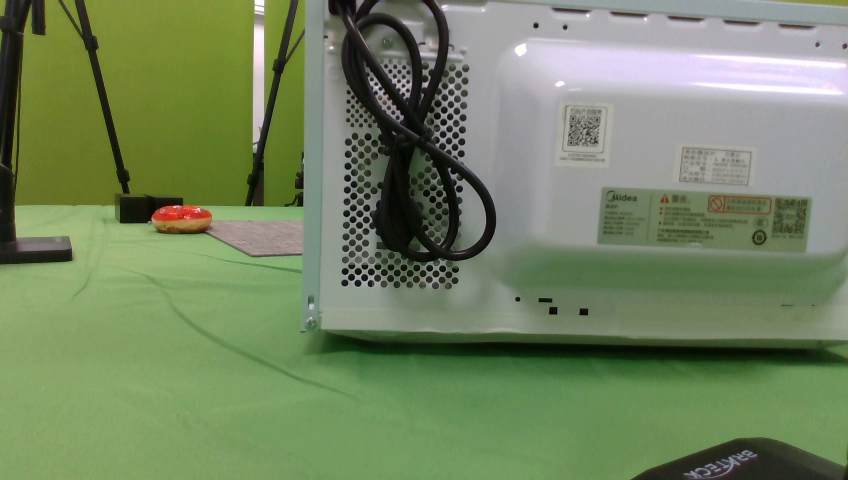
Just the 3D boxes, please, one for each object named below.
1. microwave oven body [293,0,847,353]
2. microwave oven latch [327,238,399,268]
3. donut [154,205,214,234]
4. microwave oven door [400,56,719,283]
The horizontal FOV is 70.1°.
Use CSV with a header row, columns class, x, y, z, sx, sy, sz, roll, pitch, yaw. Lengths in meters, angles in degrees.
class,x,y,z,sx,sy,sz,roll,pitch,yaw
microwave oven body,0.122,-0.055,0.550,0.442,0.260,0.325,3,7,-5
microwave oven latch,-0.069,0.015,0.694,0.079,0.029,0.030,3,7,-3
donut,-0.426,-0.037,1.075,0.099,0.048,0.099,2,12,0
microwave oven door,0.155,-0.077,0.697,0.356,0.243,0.039,2,8,-5
